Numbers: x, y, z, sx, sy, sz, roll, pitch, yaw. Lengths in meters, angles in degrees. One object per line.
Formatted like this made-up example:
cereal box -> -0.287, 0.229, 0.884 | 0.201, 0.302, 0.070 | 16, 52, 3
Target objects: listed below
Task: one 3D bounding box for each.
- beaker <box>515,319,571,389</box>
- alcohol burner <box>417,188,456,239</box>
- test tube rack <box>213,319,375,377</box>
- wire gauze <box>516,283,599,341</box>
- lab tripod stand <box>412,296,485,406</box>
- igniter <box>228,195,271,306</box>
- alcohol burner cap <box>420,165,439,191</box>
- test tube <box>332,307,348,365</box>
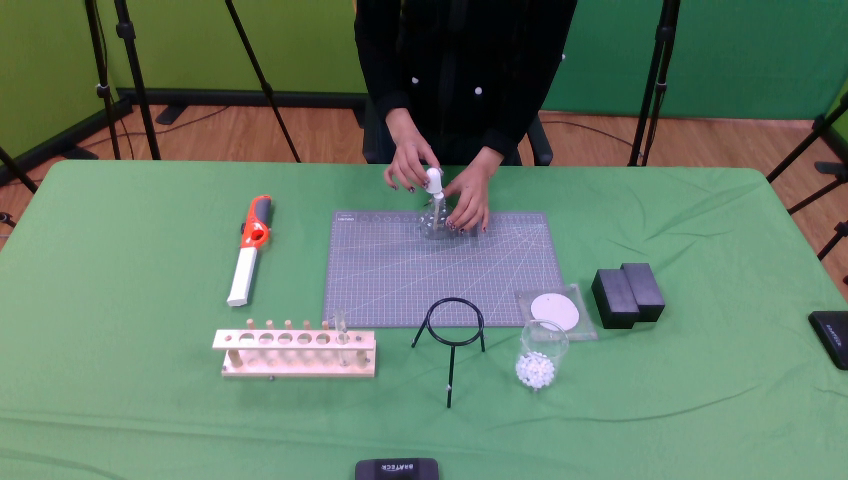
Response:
beaker -> 0.186, 0.186, 0.980 | 0.074, 0.101, 0.083 | -23, 51, -24
alcohol burner -> 0.026, -0.059, 1.189 | 0.078, 0.120, 0.077 | 1, 48, -1
test tube rack -> -0.202, 0.170, 0.977 | 0.242, 0.085, 0.066 | 1, 46, -3
wire gauze -> 0.240, 0.131, 1.094 | 0.125, 0.011, 0.120 | -3, 47, -8
lab tripod stand -> 0.045, 0.168, 0.963 | 0.148, 0.132, 0.147 | 3, 47, -3
igniter -> -0.332, 0.011, 1.160 | 0.057, 0.025, 0.274 | -6, 46, 5
alcohol burner cap -> 0.012, -0.118, 1.130 | 0.034, 0.048, 0.033 | 5, 48, -5
test tube -> -0.128, 0.151, 0.931 | 0.017, 0.151, 0.017 | 1, 50, -2
